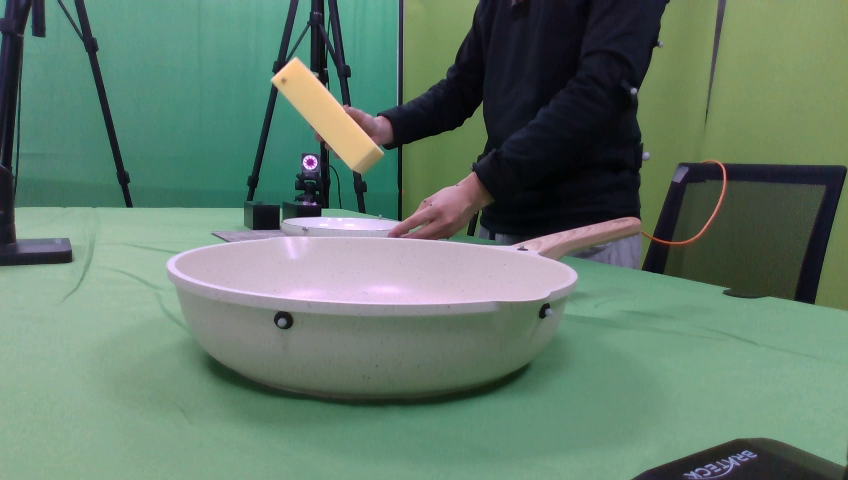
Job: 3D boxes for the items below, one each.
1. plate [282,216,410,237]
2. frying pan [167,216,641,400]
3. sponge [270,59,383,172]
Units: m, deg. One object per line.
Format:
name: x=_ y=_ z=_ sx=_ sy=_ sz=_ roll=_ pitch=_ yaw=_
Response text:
plate: x=-0.126 y=-0.012 z=0.986 sx=0.208 sy=0.039 sz=0.207 roll=2 pitch=7 yaw=0
frying pan: x=0.046 y=0.024 z=0.519 sx=0.490 sy=0.102 sz=0.305 roll=-14 pitch=16 yaw=-37
sponge: x=-0.172 y=-0.221 z=1.101 sx=0.207 sy=0.061 sz=0.118 roll=46 pitch=4 yaw=-1
